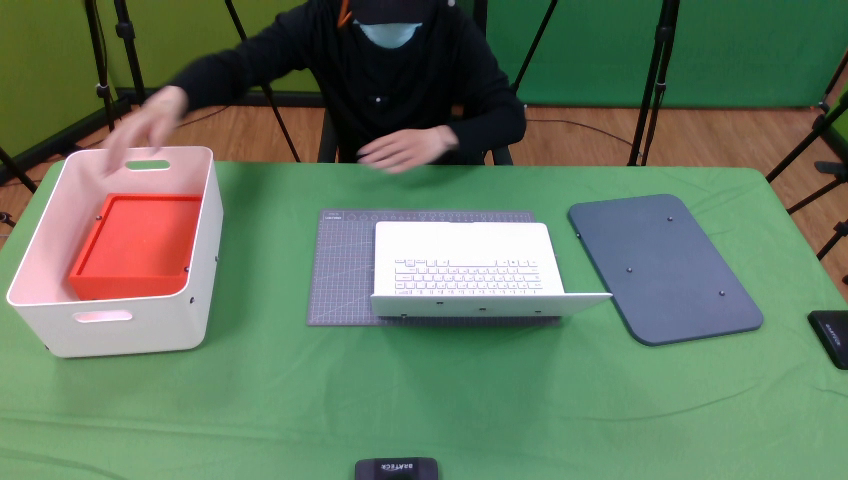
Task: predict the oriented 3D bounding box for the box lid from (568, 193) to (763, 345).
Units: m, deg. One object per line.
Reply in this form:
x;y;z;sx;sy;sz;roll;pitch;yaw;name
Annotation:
0.465;0.040;1.203;0.264;0.015;0.369;-7;47;-11;box lid

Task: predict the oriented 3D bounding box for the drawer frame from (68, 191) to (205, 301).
-0.495;0.009;1.102;0.202;0.083;0.212;0;47;-5;drawer frame

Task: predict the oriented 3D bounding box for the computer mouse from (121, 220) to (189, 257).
-0.511;-0.004;1.152;0.117;0.041;0.062;12;42;-3;computer mouse

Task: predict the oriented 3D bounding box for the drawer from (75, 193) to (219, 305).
-0.496;0.014;1.108;0.194;0.073;0.210;-1;50;-2;drawer

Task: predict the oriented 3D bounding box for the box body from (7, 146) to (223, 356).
-0.499;0.012;1.051;0.254;0.161;0.361;-3;47;-7;box body

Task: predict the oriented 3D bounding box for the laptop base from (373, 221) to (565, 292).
0.080;0.049;1.159;0.355;0.023;0.234;0;43;-4;laptop base

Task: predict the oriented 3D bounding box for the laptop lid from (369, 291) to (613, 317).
0.092;0.104;0.965;0.357;0.242;0.013;0;76;-5;laptop lid
